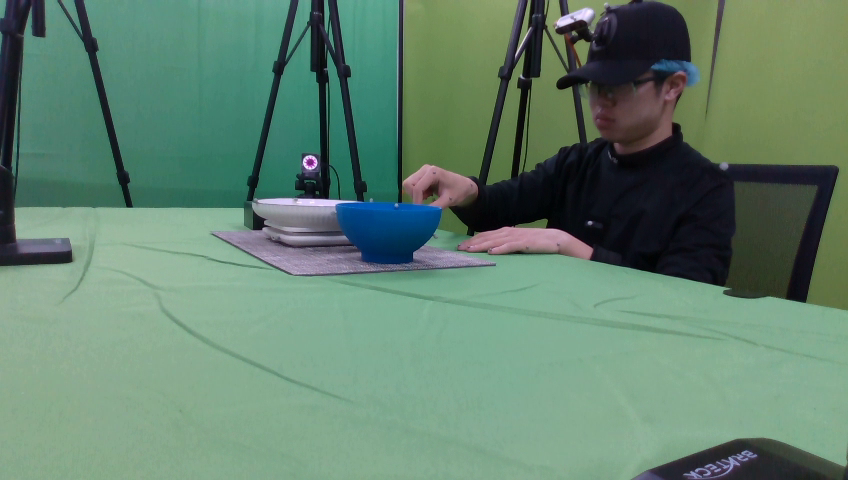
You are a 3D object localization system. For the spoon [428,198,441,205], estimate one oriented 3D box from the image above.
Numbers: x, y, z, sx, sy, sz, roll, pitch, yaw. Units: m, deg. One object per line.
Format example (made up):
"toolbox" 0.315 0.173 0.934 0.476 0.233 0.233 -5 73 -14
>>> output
"spoon" -0.029 -0.032 0.988 0.041 0.021 0.194 25 41 29

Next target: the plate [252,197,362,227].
"plate" -0.179 -0.047 1.012 0.209 0.038 0.209 2 6 0

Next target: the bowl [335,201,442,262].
"bowl" -0.051 -0.012 0.848 0.151 0.077 0.151 2 7 0

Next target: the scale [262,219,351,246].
"scale" -0.160 -0.016 1.027 0.202 0.031 0.148 -2 8 -32
